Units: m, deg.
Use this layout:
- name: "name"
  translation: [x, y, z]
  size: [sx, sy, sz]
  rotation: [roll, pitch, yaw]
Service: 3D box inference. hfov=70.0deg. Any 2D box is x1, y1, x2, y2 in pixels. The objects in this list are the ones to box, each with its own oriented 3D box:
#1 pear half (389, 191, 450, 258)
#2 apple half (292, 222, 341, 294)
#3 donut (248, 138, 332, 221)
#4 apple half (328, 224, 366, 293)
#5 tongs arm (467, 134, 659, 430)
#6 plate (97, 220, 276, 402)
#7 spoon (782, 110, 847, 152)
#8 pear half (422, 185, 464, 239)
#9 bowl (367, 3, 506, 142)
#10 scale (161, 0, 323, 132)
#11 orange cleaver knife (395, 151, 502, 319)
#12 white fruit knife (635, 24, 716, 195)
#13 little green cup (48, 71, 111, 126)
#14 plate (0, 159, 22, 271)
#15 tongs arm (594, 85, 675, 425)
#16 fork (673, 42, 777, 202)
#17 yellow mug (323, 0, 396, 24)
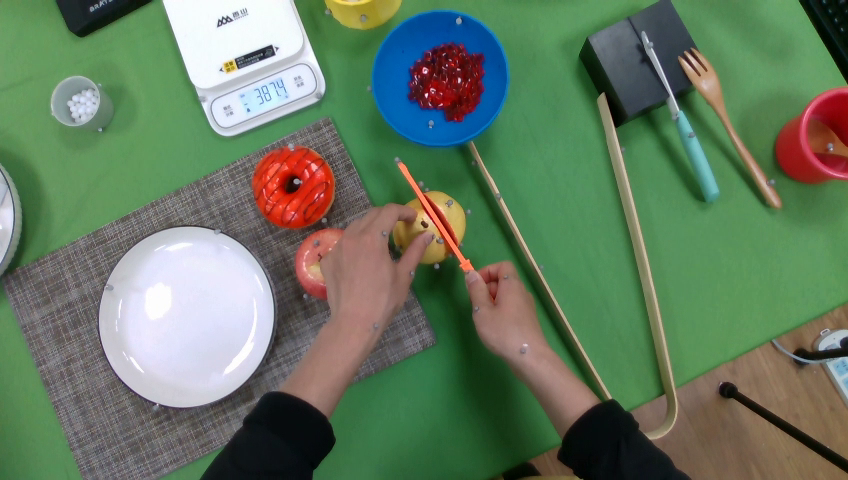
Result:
- name: "pear half"
  translation: [-0.010, -0.012, 0.665]
  size: [0.056, 0.110, 0.076]
  rotation: [-39, 82, -1]
- name: "apple half"
  translation: [-0.120, 0.019, 0.682]
  size: [0.053, 0.075, 0.080]
  rotation: [8, 89, 7]
- name: "donut"
  translation: [-0.156, -0.070, 0.705]
  size: [0.099, 0.048, 0.099]
  rotation: [0, 88, 5]
- name: "apple half"
  translation: [-0.081, 0.022, 0.679]
  size: [0.033, 0.081, 0.081]
  rotation: [7, 86, 8]
- name: "tongs arm"
  translation: [0.155, 0.042, 0.687]
  size: [0.051, 0.026, 0.384]
  rotation: [-25, 86, -2]
- name: "plate"
  translation: [-0.270, 0.081, 0.705]
  size: [0.209, 0.038, 0.208]
  rotation: [0, 86, 4]
- name: "spoon"
  translation: [0.451, -0.085, 0.623]
  size: [0.041, 0.022, 0.191]
  rotation: [-32, 41, 1]
- name: "pear half"
  translation: [0.026, -0.037, 0.676]
  size: [0.031, 0.088, 0.070]
  rotation: [-41, 82, -9]
- name: "bowl"
  translation: [0.016, -0.179, 0.689]
  size: [0.151, 0.077, 0.151]
  rotation: [0, 87, 3]
- name: "scale"
  translation: [-0.221, -0.246, 0.730]
  size: [0.148, 0.031, 0.200]
  rotation: [-22, 86, 2]
- name: "orange cleaver knife"
  translation: [0.024, -0.009, 0.662]
  size: [0.012, 0.077, 0.211]
  rotation: [-32, 92, 6]
- name: "white fruit knife"
  translation: [0.277, -0.142, 0.670]
  size: [0.016, 0.027, 0.208]
  rotation: [-28, 100, 1]
- name: "little green cup"
  translation: [-0.414, -0.169, 0.733]
  size: [0.061, 0.039, 0.061]
  rotation: [0, 86, 4]
- name: "plate"
  translation: [-0.584, -0.026, 0.735]
  size: [0.207, 0.039, 0.207]
  rotation: [0, 86, 3]
- name: "tongs arm"
  translation: [0.235, 0.012, 0.687]
  size: [0.028, 0.028, 0.386]
  rotation: [-11, 86, -4]
- name: "fork"
  translation: [0.338, -0.129, 0.673]
  size: [0.028, 0.018, 0.208]
  rotation: [-36, 100, -2]
- name: "yellow mug"
  translation: [-0.094, -0.323, 0.710]
  size: [0.130, 0.064, 0.100]
  rotation: [31, 89, 6]
